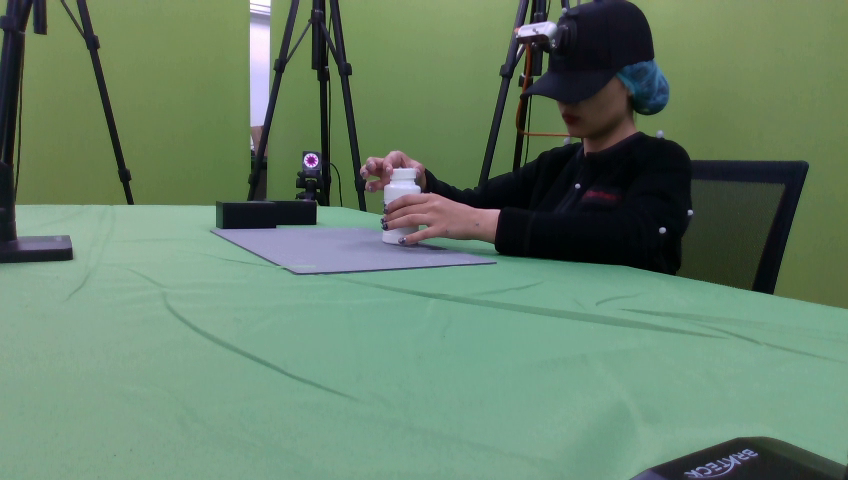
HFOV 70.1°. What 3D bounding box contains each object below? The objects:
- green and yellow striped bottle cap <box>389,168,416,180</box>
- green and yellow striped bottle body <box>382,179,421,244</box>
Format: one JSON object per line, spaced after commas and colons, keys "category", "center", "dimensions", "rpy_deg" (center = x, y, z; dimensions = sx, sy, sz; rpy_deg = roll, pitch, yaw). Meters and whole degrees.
{"category": "green and yellow striped bottle cap", "center": [-0.036, -0.111, 1.011], "dimensions": [0.045, 0.020, 0.045], "rpy_deg": [0, 7, 0]}
{"category": "green and yellow striped bottle body", "center": [-0.038, -0.055, 1.018], "dimensions": [0.063, 0.119, 0.063], "rpy_deg": [3, 8, 0]}
